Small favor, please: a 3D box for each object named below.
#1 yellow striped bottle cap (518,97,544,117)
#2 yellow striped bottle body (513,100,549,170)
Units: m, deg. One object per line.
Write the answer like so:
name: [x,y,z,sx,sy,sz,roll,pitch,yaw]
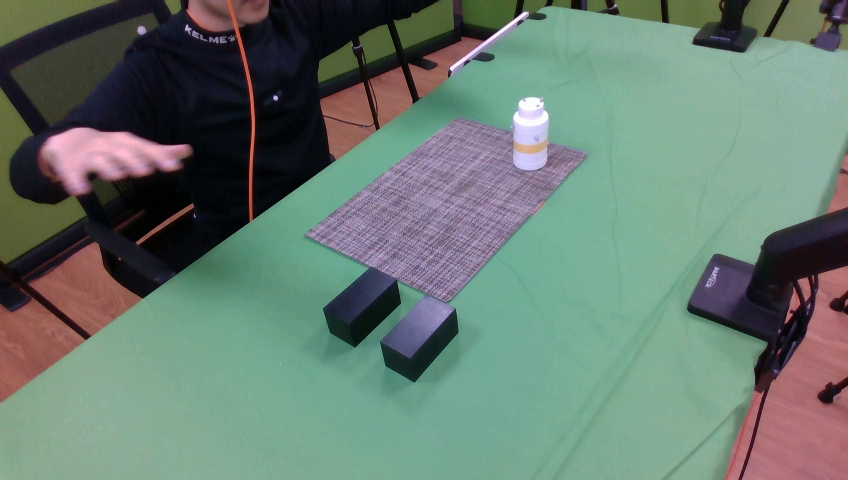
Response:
yellow striped bottle cap: [0.185,-0.230,1.047,0.044,0.019,0.044,-2,40,3]
yellow striped bottle body: [0.191,-0.192,1.082,0.063,0.121,0.062,-4,41,4]
